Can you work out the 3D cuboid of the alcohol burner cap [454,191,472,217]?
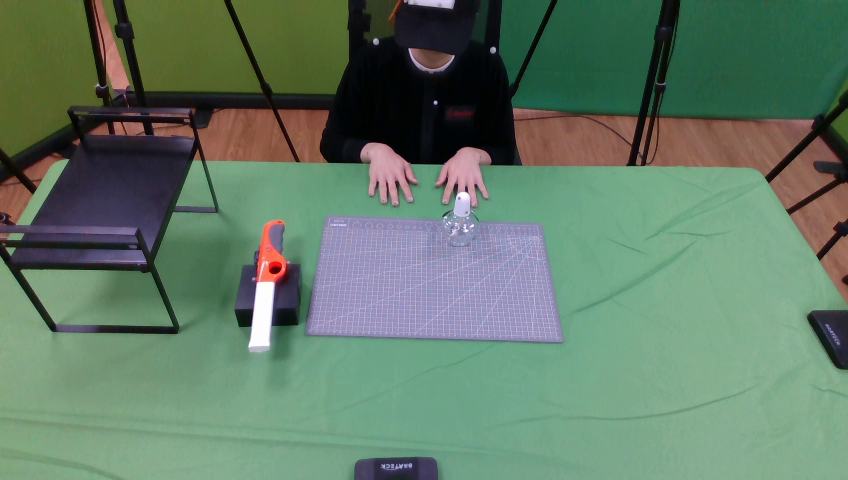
[{"bbox_3d":[0.076,-0.071,1.150,0.034,0.048,0.033,2,42,-1],"label":"alcohol burner cap"}]

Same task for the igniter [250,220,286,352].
[{"bbox_3d":[-0.269,0.068,1.042,0.057,0.025,0.274,0,48,-7],"label":"igniter"}]

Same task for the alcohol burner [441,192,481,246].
[{"bbox_3d":[0.073,-0.046,1.176,0.078,0.119,0.077,2,44,-2],"label":"alcohol burner"}]
